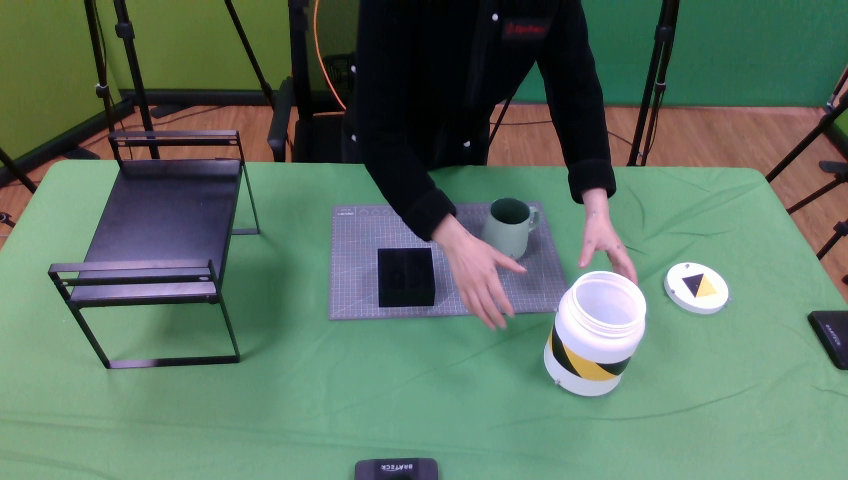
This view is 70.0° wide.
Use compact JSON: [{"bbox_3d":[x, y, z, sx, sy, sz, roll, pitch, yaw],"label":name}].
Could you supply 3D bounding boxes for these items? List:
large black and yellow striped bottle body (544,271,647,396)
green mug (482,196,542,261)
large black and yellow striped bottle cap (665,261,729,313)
[{"bbox_3d":[0.271,0.148,0.962,0.131,0.185,0.130,2,47,-2],"label":"large black and yellow striped bottle body"},{"bbox_3d":[0.175,-0.026,1.172,0.125,0.105,0.092,-21,50,-22],"label":"green mug"},{"bbox_3d":[0.518,0.088,1.152,0.115,0.019,0.114,2,47,-2],"label":"large black and yellow striped bottle cap"}]
